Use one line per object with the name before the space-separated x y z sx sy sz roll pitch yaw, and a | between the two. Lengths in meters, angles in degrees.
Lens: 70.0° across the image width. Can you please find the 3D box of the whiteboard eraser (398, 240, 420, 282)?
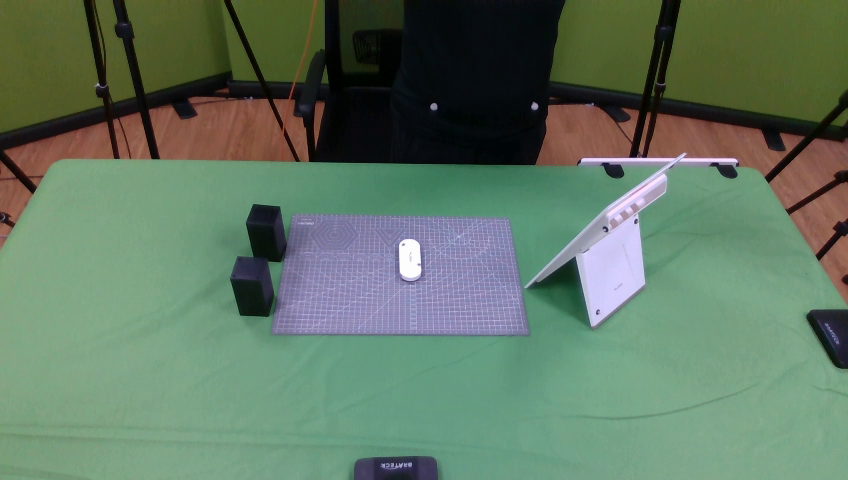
whiteboard eraser | -0.029 0.039 1.156 0.041 0.019 0.100 0 45 -3

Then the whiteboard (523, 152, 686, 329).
whiteboard | 0.346 0.024 1.047 0.217 0.306 0.143 -30 74 -29
